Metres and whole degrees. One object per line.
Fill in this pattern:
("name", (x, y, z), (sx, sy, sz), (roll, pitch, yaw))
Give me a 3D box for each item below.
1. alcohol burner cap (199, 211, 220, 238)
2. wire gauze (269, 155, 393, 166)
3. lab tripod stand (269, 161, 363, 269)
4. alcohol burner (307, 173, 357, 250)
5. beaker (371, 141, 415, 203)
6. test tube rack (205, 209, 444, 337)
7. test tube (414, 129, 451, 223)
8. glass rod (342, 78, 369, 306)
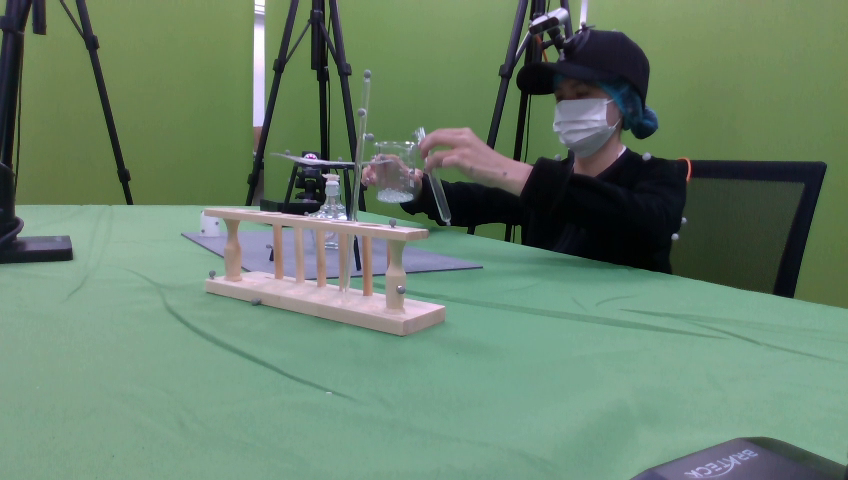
("alcohol burner cap", (-0.356, -0.027, 1.002), (0.034, 0.048, 0.034), (2, 7, 0))
("wire gauze", (-0.121, -0.102, 0.785), (0.122, 0.011, 0.124), (-3, 10, -39))
("lab tripod stand", (-0.125, -0.036, 0.794), (0.148, 0.131, 0.148), (5, 7, 0))
("alcohol burner", (-0.144, -0.045, 0.940), (0.078, 0.119, 0.078), (1, 8, 0))
("beaker", (-0.050, -0.117, 1.043), (0.074, 0.100, 0.083), (-12, 19, -37))
("test tube rack", (-0.100, 0.021, 0.565), (0.241, 0.085, 0.067), (7, 8, 32))
("test tube", (0.013, -0.096, 0.894), (0.017, 0.150, 0.017), (-16, -13, -4))
("glass rod", (-0.059, -0.038, 0.522), (0.008, 0.199, 0.008), (6, 5, 0))
